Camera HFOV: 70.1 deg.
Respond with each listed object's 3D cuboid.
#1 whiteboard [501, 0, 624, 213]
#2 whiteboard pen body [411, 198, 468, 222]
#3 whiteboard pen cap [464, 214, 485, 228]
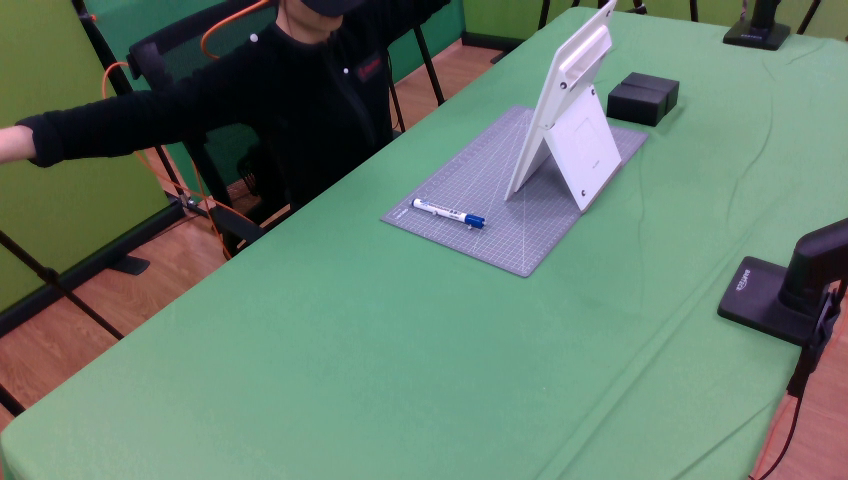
[{"bbox_3d":[0.271,-0.189,0.977,0.143,0.306,0.218,34,53,16],"label":"whiteboard"},{"bbox_3d":[0.036,-0.049,1.029,0.139,0.017,0.017,19,48,32],"label":"whiteboard pen body"},{"bbox_3d":[0.084,-0.032,0.998,0.033,0.018,0.018,18,48,33],"label":"whiteboard pen cap"}]
